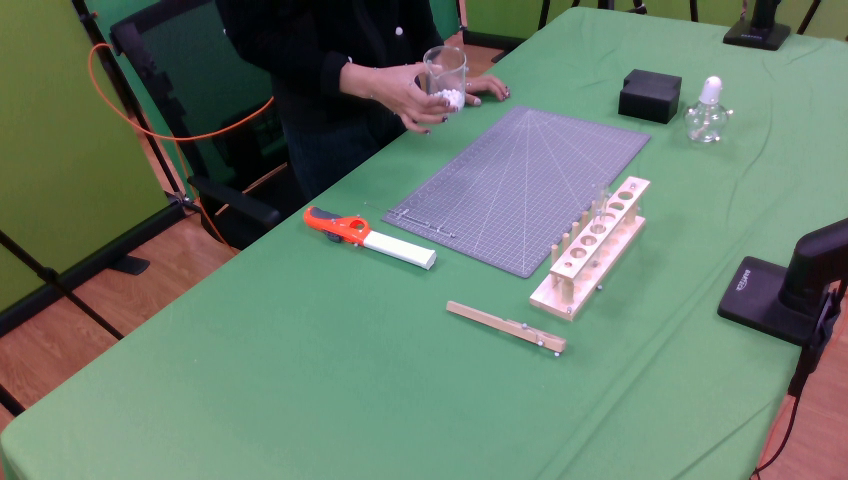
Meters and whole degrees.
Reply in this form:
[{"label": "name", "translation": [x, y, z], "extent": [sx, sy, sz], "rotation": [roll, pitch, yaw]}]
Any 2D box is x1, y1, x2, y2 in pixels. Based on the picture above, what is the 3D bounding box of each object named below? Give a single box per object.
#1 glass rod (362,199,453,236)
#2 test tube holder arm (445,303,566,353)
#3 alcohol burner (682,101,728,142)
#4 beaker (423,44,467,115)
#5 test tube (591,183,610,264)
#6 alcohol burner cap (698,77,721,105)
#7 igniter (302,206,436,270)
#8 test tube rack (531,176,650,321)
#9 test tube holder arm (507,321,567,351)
[{"label": "glass rod", "translation": [-0.032, -0.041, 1.041], "extent": [0.198, 0.008, 0.008], "rotation": [22, 50, 31]}, {"label": "test tube holder arm", "translation": [0.107, 0.117, 0.824], "extent": [0.177, 0.015, 0.013], "rotation": [16, 11, 27]}, {"label": "alcohol burner", "translation": [0.513, -0.239, 1.097], "extent": [0.078, 0.119, 0.077], "rotation": [-4, 40, 4]}, {"label": "beaker", "translation": [0.036, -0.277, 1.063], "extent": [0.073, 0.100, 0.084], "rotation": [16, 55, 15]}, {"label": "test tube", "translation": [0.242, -0.019, 0.832], "extent": [0.017, 0.151, 0.017], "rotation": [-5, 46, 6]}, {"label": "alcohol burner cap", "translation": [0.509, -0.266, 1.072], "extent": [0.034, 0.048, 0.033], "rotation": [-4, 48, 5]}, {"label": "igniter", "translation": [-0.101, -0.007, 1.004], "extent": [0.274, 0.025, 0.057], "rotation": [19, 58, 29]}, {"label": "test tube rack", "translation": [0.246, 0.002, 0.884], "extent": [0.066, 0.085, 0.243], "rotation": [22, 49, 32]}, {"label": "test tube holder arm", "translation": [0.148, 0.128, 0.808], "extent": [0.087, 0.015, 0.010], "rotation": [16, 11, 28]}]
